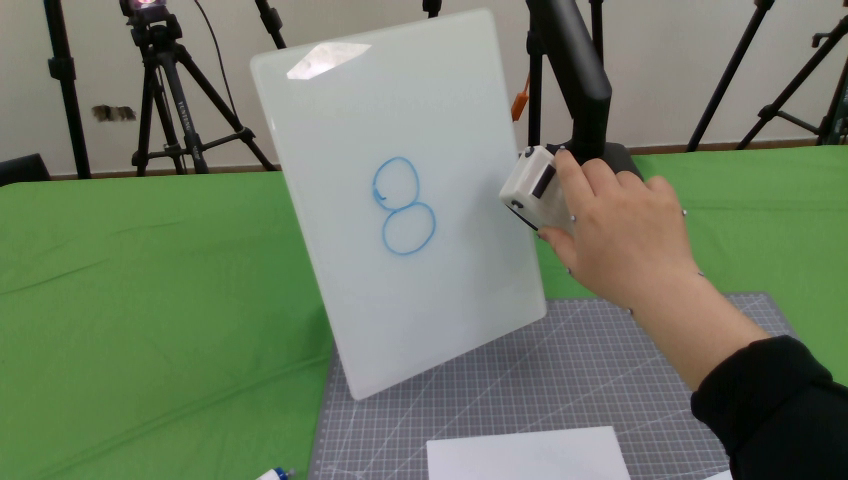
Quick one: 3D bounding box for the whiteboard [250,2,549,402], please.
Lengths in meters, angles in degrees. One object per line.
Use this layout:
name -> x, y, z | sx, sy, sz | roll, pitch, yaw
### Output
whiteboard -> -0.028, -0.044, 0.590 | 0.217, 0.307, 0.142 | -20, 19, -20

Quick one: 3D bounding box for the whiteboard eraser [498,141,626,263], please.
whiteboard eraser -> 0.118, -0.031, 0.524 | 0.055, 0.113, 0.041 | -58, 20, -9

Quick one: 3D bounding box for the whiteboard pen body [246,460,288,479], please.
whiteboard pen body -> -0.165, 0.207, 0.445 | 0.141, 0.017, 0.017 | -27, 42, -31
